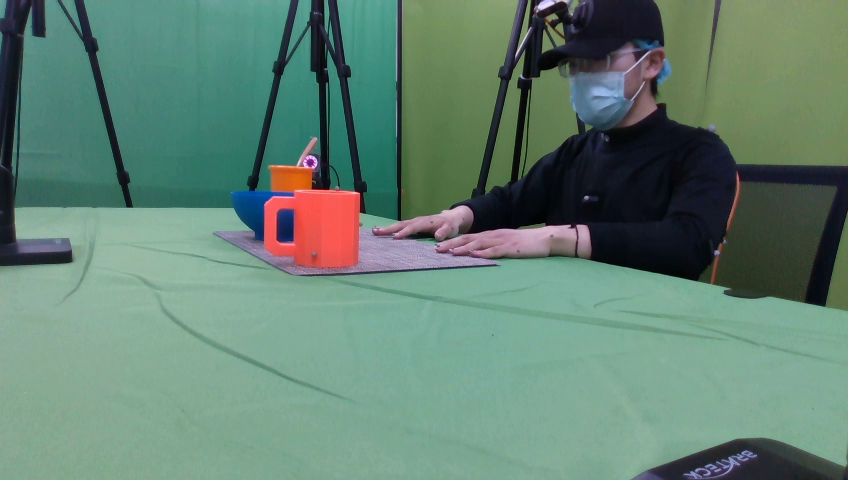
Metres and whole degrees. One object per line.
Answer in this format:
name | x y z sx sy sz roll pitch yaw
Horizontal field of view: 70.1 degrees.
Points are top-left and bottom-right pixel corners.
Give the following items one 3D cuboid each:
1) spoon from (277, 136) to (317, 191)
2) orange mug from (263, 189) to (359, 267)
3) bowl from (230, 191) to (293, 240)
spoon | -0.258 -0.152 1.247 0.041 0.193 0.022 2 -37 21
orange mug | -0.147 -0.019 0.795 0.127 0.100 0.083 4 6 -19
bowl | -0.249 -0.042 1.023 0.151 0.077 0.151 2 7 0
